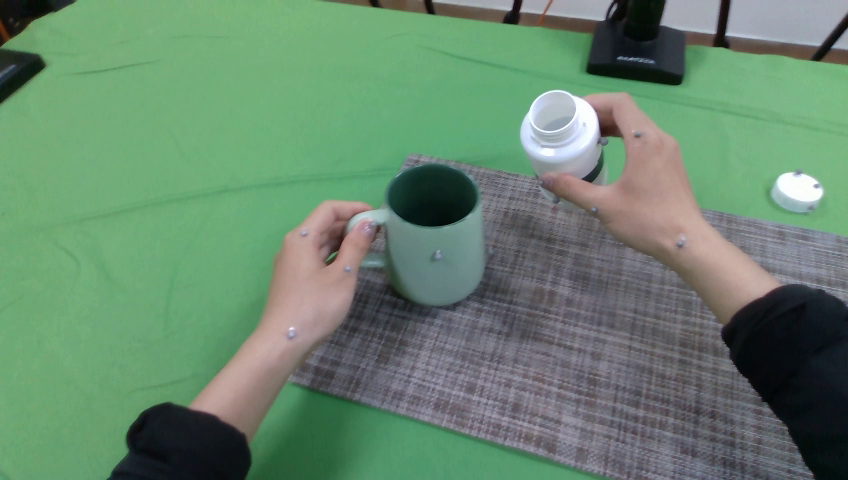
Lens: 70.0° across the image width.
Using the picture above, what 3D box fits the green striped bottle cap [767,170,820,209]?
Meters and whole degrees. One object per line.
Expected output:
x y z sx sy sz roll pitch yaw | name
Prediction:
0.377 -0.052 0.618 0.044 0.020 0.044 0 45 0 | green striped bottle cap

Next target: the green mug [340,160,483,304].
-0.010 -0.003 0.528 0.125 0.106 0.091 -8 49 -4 | green mug

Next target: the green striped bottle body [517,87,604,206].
0.117 -0.080 0.516 0.063 0.120 0.062 -8 67 19 | green striped bottle body
